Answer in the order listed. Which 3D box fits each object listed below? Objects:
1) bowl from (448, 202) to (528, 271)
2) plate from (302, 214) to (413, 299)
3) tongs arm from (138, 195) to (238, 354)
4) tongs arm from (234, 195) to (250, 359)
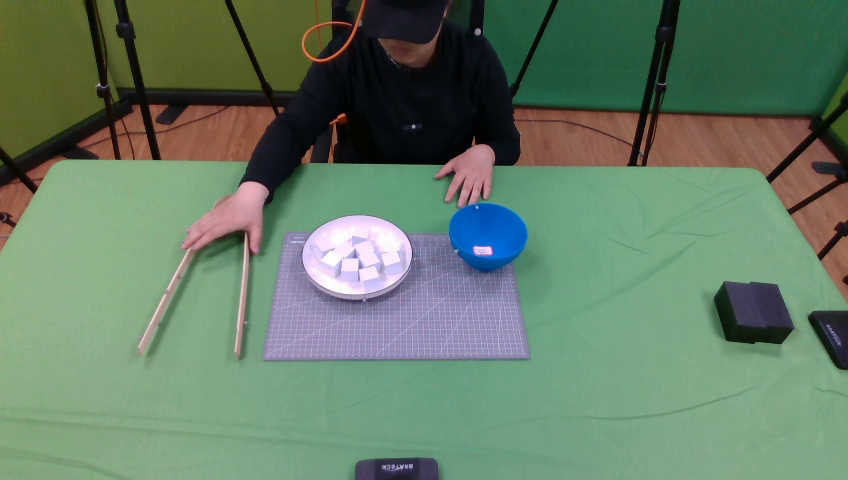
[{"bbox_3d":[0.118,0.007,1.160,0.151,0.077,0.150,2,46,-2],"label":"bowl"},{"bbox_3d":[-0.124,0.033,1.143,0.208,0.039,0.206,2,46,-2],"label":"plate"},{"bbox_3d":[-0.421,0.048,1.111,0.051,0.026,0.382,5,45,1],"label":"tongs arm"},{"bbox_3d":[-0.339,0.052,1.117,0.028,0.028,0.385,-7,46,-6],"label":"tongs arm"}]
